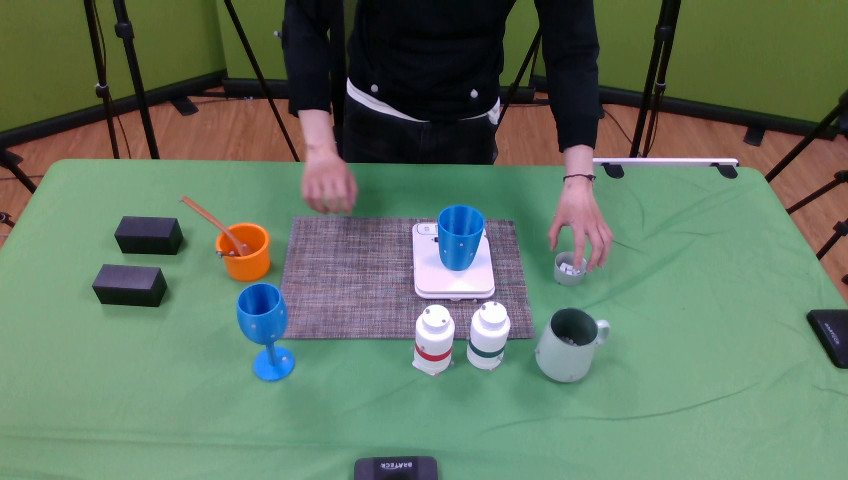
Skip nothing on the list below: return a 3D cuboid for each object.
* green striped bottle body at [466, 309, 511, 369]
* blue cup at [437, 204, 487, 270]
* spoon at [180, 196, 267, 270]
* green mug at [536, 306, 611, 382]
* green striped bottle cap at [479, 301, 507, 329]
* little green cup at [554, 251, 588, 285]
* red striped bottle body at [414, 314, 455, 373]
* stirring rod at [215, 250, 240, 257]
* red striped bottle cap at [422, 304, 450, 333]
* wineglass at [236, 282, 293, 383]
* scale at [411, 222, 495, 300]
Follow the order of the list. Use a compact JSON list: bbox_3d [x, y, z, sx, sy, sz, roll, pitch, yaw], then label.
[{"bbox_3d":[0.105,0.154,0.987,0.063,0.120,0.063,2,46,-2],"label":"green striped bottle body"},{"bbox_3d":[0.062,0.000,1.097,0.093,0.101,0.092,2,44,-2],"label":"blue cup"},{"bbox_3d":[-0.360,-0.014,1.094,0.021,0.194,0.041,-28,26,31],"label":"spoon"},{"bbox_3d":[0.250,0.167,0.996,0.125,0.105,0.092,-15,48,-19],"label":"green mug"},{"bbox_3d":[0.109,0.118,0.950,0.044,0.020,0.044,2,46,-2],"label":"green striped bottle cap"},{"bbox_3d":[0.277,0.055,1.152,0.061,0.039,0.061,2,45,-1],"label":"little green cup"},{"bbox_3d":[0.016,0.158,0.977,0.063,0.120,0.062,2,46,-2],"label":"red striped bottle body"},{"bbox_3d":[-0.340,0.024,1.059,0.014,0.176,0.006,17,86,-6],"label":"stirring rod"},{"bbox_3d":[0.018,0.121,0.939,0.044,0.018,0.044,0,48,0],"label":"red striped bottle cap"},{"bbox_3d":[-0.243,0.143,0.934,0.074,0.173,0.073,2,46,-2],"label":"wineglass"},{"bbox_3d":[0.052,0.031,1.158,0.149,0.032,0.199,1,46,-4],"label":"scale"}]
